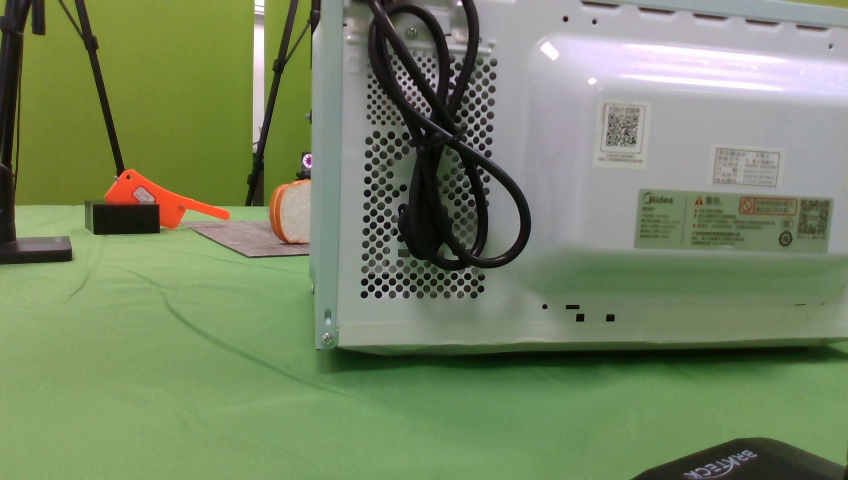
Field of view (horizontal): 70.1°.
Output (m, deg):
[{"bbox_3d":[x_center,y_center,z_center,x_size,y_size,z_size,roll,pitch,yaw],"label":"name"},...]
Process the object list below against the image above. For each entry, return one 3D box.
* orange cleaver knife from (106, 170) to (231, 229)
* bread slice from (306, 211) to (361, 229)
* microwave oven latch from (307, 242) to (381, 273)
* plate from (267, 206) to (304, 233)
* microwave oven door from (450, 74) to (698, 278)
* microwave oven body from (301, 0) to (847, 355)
[{"bbox_3d":[-0.458,-0.060,1.097,0.212,0.077,0.012,23,-4,-38],"label":"orange cleaver knife"},{"bbox_3d":[-0.173,-0.040,1.173,0.107,0.018,0.134,-1,10,-8],"label":"bread slice"},{"bbox_3d":[-0.086,0.019,0.656,0.079,0.029,0.030,2,7,-10],"label":"microwave oven latch"},{"bbox_3d":[-0.197,-0.039,1.175,0.208,0.039,0.207,2,7,0],"label":"plate"},{"bbox_3d":[0.183,-0.094,0.836,0.354,0.243,0.039,10,10,44],"label":"microwave oven door"},{"bbox_3d":[0.120,-0.053,0.535,0.443,0.260,0.325,2,7,-11],"label":"microwave oven body"}]
